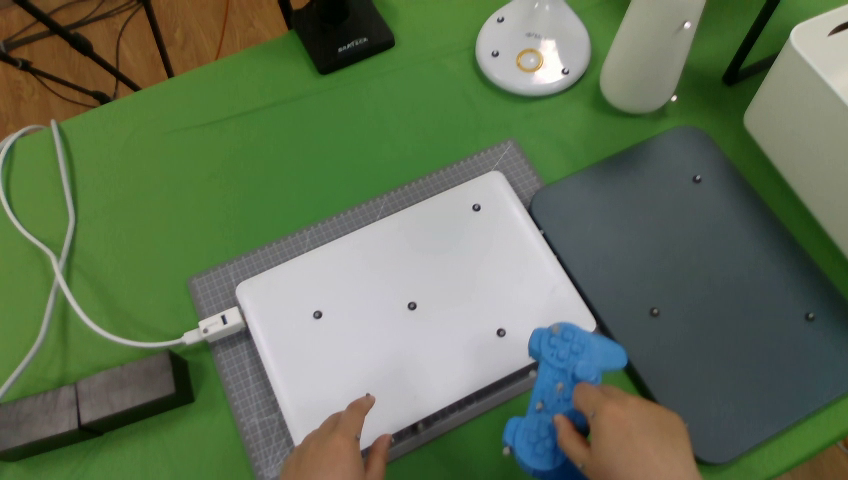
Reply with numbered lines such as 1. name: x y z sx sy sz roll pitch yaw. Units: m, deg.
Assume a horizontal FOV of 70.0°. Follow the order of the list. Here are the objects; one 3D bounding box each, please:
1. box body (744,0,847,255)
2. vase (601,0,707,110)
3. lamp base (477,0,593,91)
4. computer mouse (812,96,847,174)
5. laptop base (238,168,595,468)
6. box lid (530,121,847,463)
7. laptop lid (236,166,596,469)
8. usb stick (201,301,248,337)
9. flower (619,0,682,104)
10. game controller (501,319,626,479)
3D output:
1. box body: 0.580 -0.098 0.676 0.254 0.161 0.361 -22 67 -7
2. vase: 0.279 -0.248 0.734 0.098 0.201 0.097 -2 65 4
3. lamp base: 0.152 -0.318 0.780 0.160 0.181 0.178 6 64 5
4. computer mouse: 0.525 -0.136 0.756 0.062 0.041 0.116 10 63 10
5. laptop base: -0.013 0.075 0.698 0.354 0.023 0.233 -25 71 -9
6. box lid: 0.317 0.036 0.708 0.263 0.015 0.368 -25 68 -10
7. laptop lid: -0.012 0.072 0.687 0.357 0.013 0.239 -23 70 -8
8. usb stick: -0.219 0.087 0.686 0.059 0.027 0.021 -21 66 -13
9. flower: 0.293 -0.291 0.662 0.038 0.364 0.043 -9 55 -20
10. game controller: 0.132 0.145 0.566 0.097 0.052 0.154 17 60 12
